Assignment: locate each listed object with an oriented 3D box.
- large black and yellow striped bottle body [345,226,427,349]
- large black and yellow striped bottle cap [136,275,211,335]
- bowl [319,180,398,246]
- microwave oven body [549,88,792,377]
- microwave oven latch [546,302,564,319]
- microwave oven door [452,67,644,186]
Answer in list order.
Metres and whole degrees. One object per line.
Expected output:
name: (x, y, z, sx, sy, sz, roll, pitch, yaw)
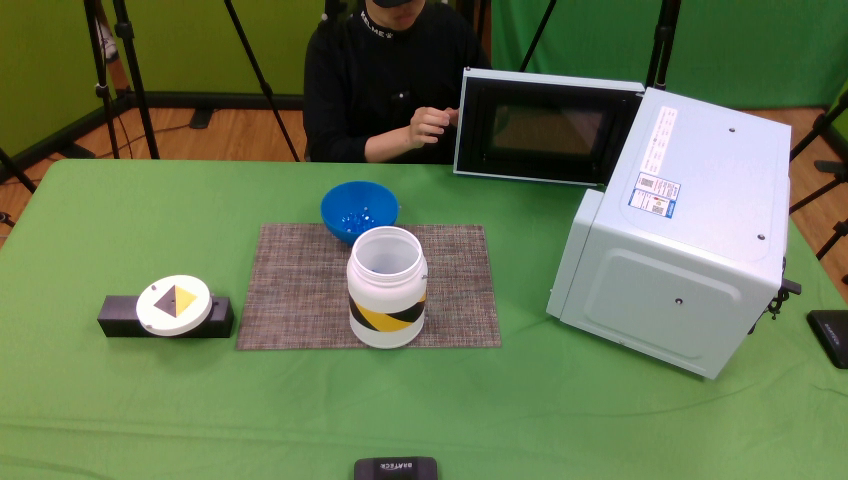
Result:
large black and yellow striped bottle body: (-0.062, 0.078, 0.998, 0.131, 0.185, 0.130, 2, 46, -2)
large black and yellow striped bottle cap: (-0.412, 0.105, 0.999, 0.115, 0.019, 0.114, 3, 46, -3)
bowl: (-0.126, -0.039, 1.181, 0.151, 0.077, 0.150, 3, 46, -2)
microwave oven body: (0.456, -0.028, 1.088, 0.325, 0.261, 0.440, 20, 47, 16)
microwave oven latch: (0.242, 0.102, 1.081, 0.030, 0.029, 0.079, 21, 48, 17)
microwave oven door: (0.246, -0.230, 1.260, 0.356, 0.245, 0.039, 5, 46, 1)
